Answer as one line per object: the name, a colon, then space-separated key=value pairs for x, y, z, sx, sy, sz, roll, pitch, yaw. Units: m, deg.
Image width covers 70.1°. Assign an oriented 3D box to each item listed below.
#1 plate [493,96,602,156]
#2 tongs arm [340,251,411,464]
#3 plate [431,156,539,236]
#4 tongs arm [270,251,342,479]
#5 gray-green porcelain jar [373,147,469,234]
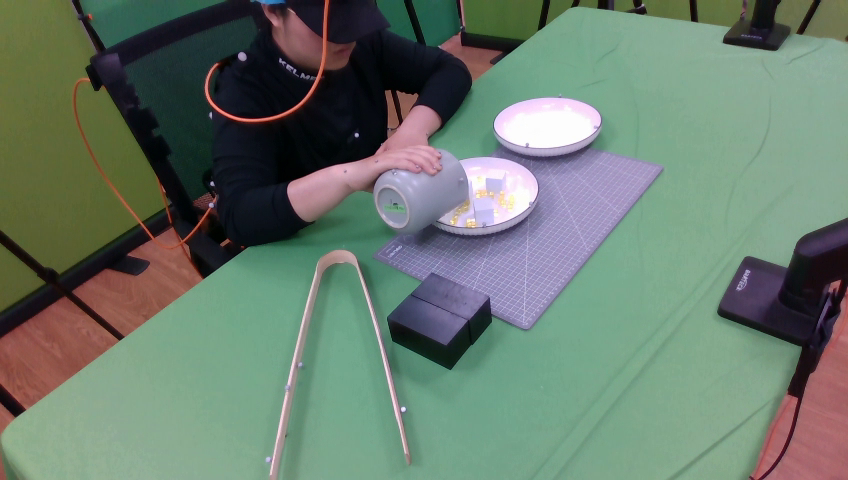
plate: x=0.239 y=-0.218 z=1.179 sx=0.209 sy=0.038 sz=0.208 roll=-5 pitch=39 yaw=4
tongs arm: x=-0.070 y=0.136 z=0.830 sx=0.028 sy=0.028 sz=0.384 roll=-18 pitch=40 yaw=-5
plate: x=0.091 y=-0.072 z=1.034 sx=0.207 sy=0.039 sz=0.206 roll=-5 pitch=40 yaw=5
tongs arm: x=-0.152 y=0.148 z=0.826 sx=0.051 sy=0.026 sz=0.382 roll=-6 pitch=38 yaw=3
gray-green porcelain jar: x=-0.008 y=-0.075 z=0.943 sx=0.105 sy=0.106 sz=0.127 roll=24 pitch=39 yaw=33
